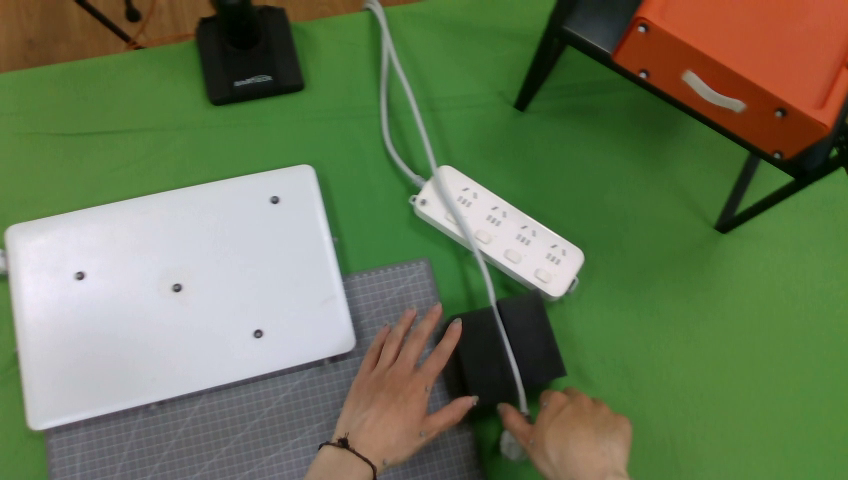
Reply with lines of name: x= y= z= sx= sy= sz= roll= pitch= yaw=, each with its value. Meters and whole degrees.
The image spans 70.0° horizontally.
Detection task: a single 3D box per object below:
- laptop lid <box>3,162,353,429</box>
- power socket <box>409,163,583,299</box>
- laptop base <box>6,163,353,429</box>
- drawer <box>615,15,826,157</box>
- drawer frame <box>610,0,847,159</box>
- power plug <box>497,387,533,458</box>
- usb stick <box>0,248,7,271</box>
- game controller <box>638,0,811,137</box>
laptop lid: x=-0.276 y=0.052 z=0.682 sx=0.357 sy=0.013 sz=0.240 roll=-12 pitch=77 yaw=-8
power socket: x=0.089 y=-0.012 z=0.734 sx=0.226 sy=0.033 sz=0.072 roll=34 pitch=74 yaw=5
laptop base: x=-0.277 y=0.053 z=0.694 sx=0.355 sy=0.023 sz=0.234 roll=-13 pitch=79 yaw=-8
drawer: x=0.327 y=-0.220 z=0.600 sx=0.194 sy=0.073 sz=0.211 roll=32 pitch=74 yaw=5
drawer frame: x=0.326 y=-0.223 z=0.599 sx=0.201 sy=0.083 sz=0.213 roll=32 pitch=74 yaw=5
power plug: x=0.103 y=0.204 z=0.671 sx=0.035 sy=0.052 sz=0.072 roll=24 pitch=67 yaw=-16
usb stick: x=-0.482 y=0.023 z=0.672 sx=0.059 sy=0.027 sz=0.021 roll=-9 pitch=70 yaw=-11
game controller: x=0.304 y=-0.182 z=0.602 sx=0.155 sy=0.052 sz=0.097 roll=35 pitch=78 yaw=8
